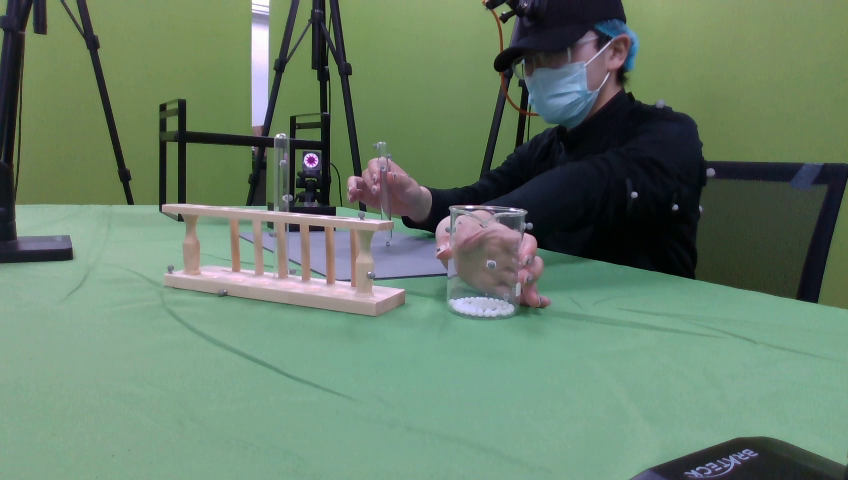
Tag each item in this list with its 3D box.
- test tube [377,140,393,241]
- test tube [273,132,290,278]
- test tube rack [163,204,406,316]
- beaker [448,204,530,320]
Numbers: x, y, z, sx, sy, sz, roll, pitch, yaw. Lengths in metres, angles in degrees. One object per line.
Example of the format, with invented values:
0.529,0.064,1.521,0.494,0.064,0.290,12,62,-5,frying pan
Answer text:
-0.058,-0.073,0.900,0.017,0.150,0.017,-3,3,0,test tube
-0.146,-0.034,0.617,0.017,0.150,0.017,2,8,0,test tube
-0.141,0.013,0.601,0.241,0.085,0.067,5,8,21,test tube rack
0.058,0.019,0.562,0.074,0.100,0.084,3,8,9,beaker
